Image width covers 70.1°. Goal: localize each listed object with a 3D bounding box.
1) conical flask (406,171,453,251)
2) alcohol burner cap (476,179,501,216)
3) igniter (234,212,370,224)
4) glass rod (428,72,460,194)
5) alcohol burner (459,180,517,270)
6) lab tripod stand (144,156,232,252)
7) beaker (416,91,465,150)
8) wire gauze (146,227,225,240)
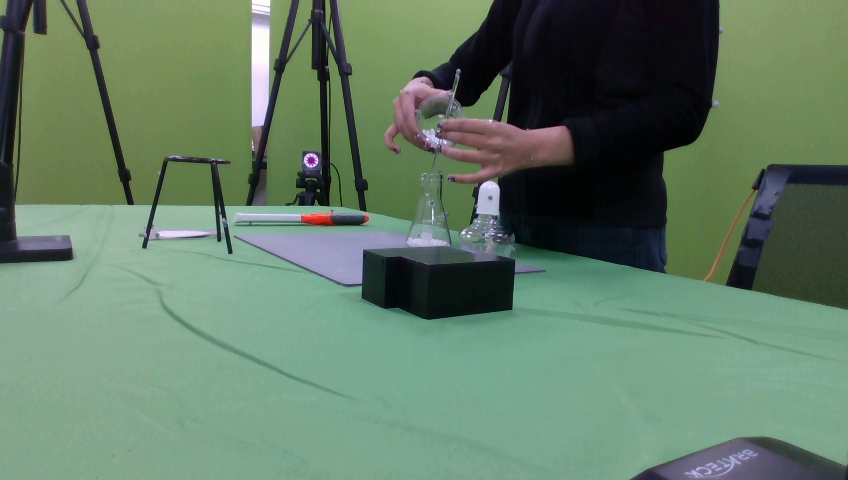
[{"bbox_3d":[0.011,-0.046,0.948,0.075,0.122,0.075,2,8,0],"label":"conical flask"},{"bbox_3d":[0.086,-0.057,0.801,0.034,0.048,0.034,4,3,0],"label":"alcohol burner cap"},{"bbox_3d":[-0.247,-0.046,1.253,0.278,0.025,0.057,-1,-3,-27],"label":"igniter"},{"bbox_3d":[0.028,-0.153,0.899,0.008,0.199,0.008,10,33,-6],"label":"glass rod"},{"bbox_3d":[0.086,-0.021,0.805,0.078,0.119,0.078,3,10,0],"label":"alcohol burner"},{"bbox_3d":[-0.325,-0.054,0.881,0.148,0.131,0.148,4,7,0],"label":"lab tripod stand"},{"bbox_3d":[0.026,-0.182,0.957,0.074,0.084,0.100,5,-1,2],"label":"beaker"},{"bbox_3d":[-0.400,-0.012,1.019,0.122,0.011,0.124,-1,6,-26],"label":"wire gauze"}]
